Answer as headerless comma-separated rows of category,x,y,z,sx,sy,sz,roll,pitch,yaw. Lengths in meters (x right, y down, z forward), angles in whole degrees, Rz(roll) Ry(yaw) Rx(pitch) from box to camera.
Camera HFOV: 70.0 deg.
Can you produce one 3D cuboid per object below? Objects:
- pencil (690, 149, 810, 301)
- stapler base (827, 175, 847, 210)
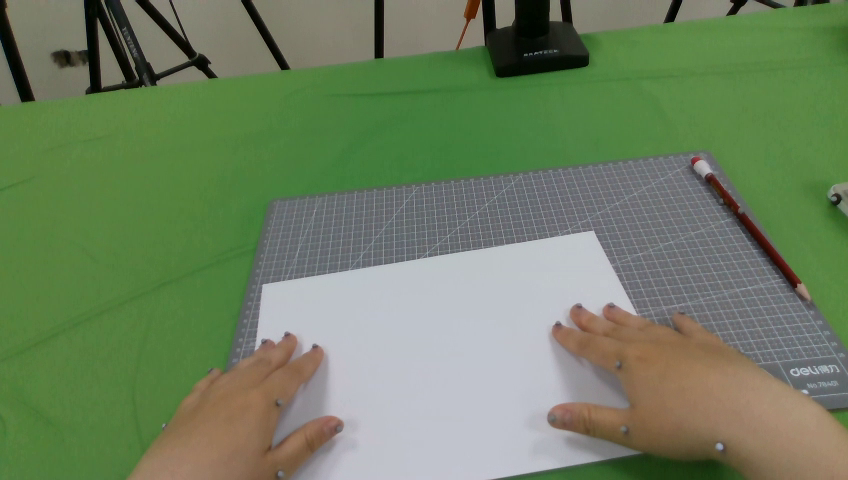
pencil,0.276,-0.020,0.522,0.012,0.012,0.192,-9,44,-1
stapler base,0.388,-0.019,0.497,0.041,0.025,0.129,-11,44,0
